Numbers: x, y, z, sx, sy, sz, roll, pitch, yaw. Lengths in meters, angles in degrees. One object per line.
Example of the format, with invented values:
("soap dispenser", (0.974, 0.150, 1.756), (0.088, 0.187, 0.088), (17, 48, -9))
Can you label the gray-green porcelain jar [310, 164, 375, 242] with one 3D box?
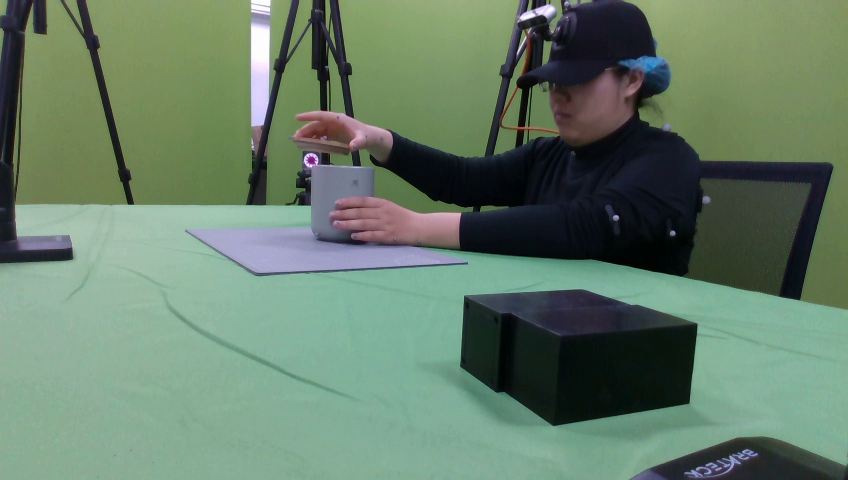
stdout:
("gray-green porcelain jar", (-0.139, -0.063, 1.025), (0.106, 0.126, 0.106), (3, 8, 0))

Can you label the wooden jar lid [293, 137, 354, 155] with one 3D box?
("wooden jar lid", (-0.179, -0.167, 1.078), (0.108, 0.020, 0.108), (8, 7, -1))
